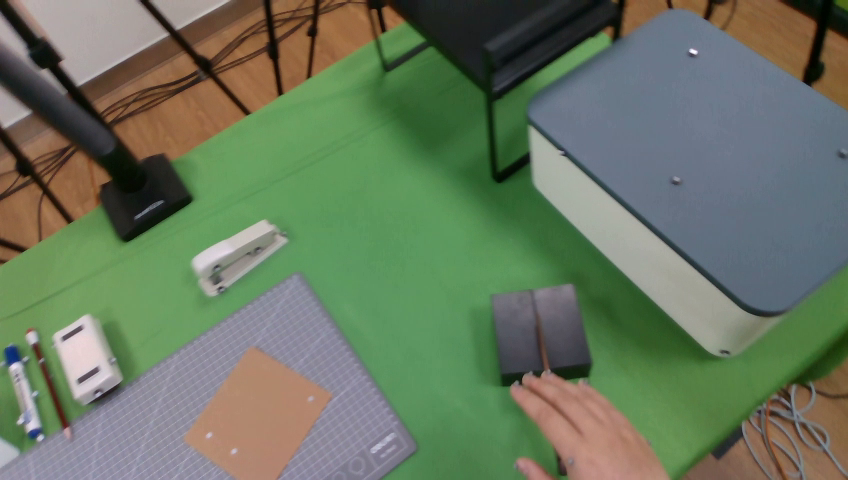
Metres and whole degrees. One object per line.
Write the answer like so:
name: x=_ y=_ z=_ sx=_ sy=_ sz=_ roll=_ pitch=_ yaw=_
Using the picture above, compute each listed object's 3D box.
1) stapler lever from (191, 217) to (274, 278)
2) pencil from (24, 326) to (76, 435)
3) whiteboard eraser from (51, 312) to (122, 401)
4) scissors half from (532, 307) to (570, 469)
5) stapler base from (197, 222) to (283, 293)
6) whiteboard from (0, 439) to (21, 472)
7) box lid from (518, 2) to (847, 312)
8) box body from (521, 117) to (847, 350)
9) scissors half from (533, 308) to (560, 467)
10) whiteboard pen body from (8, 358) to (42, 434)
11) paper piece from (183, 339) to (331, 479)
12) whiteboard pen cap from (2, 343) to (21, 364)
stapler lever: x=-0.264 y=0.007 z=0.830 sx=0.118 sy=0.040 sz=0.026 roll=-40 pitch=64 yaw=-14
pencil: x=-0.496 y=0.183 z=0.803 sx=0.012 sy=0.012 sz=0.192 roll=-38 pitch=61 yaw=-12
whiteboard eraser: x=-0.441 y=0.152 z=0.794 sx=0.055 sy=0.042 sz=0.111 roll=-36 pitch=62 yaw=-10
scissors half: x=0.133 y=0.154 z=0.652 sx=0.013 sy=0.040 sz=0.173 roll=-12 pitch=62 yaw=8
stapler base: x=-0.261 y=0.020 z=0.850 sx=0.130 sy=0.024 sz=0.041 roll=-40 pitch=64 yaw=-15
whiteboard: x=-0.674 y=0.195 z=0.691 sx=0.217 sy=0.309 sz=0.142 roll=-35 pitch=41 yaw=-10
box lid: x=0.308 y=-0.118 z=0.664 sx=0.263 sy=0.015 sz=0.368 roll=-35 pitch=61 yaw=-11
box body: x=0.320 y=-0.080 z=0.727 sx=0.254 sy=0.162 sz=0.360 roll=-35 pitch=61 yaw=-11
scissors half: x=0.137 y=0.161 z=0.671 sx=0.013 sy=0.040 sz=0.174 roll=-10 pitch=80 yaw=3
whiteboard pen body: x=-0.529 y=0.196 z=0.798 sx=0.017 sy=0.017 sz=0.139 roll=-35 pitch=61 yaw=-10
paper piece: x=-0.204 y=0.209 z=0.739 sx=0.137 sy=0.009 sz=0.135 roll=26 pitch=72 yaw=20
whiteboard pen cap: x=-0.561 y=0.156 z=0.825 sx=0.018 sy=0.018 sz=0.033 roll=-36 pitch=60 yaw=-11
